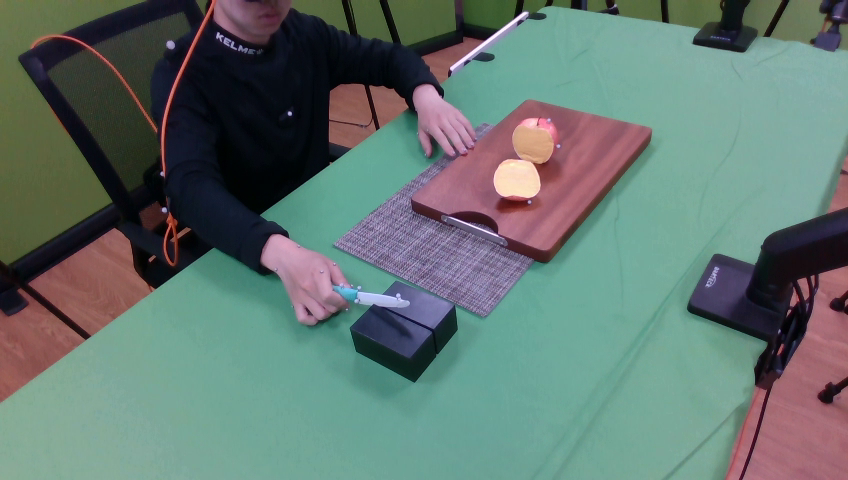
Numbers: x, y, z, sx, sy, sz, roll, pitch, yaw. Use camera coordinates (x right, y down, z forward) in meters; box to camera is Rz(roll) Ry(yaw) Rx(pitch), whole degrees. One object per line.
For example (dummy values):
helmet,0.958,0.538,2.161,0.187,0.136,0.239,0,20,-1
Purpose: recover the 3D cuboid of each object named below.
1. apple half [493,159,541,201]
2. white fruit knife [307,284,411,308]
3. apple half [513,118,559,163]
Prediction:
apple half,0.153,-0.095,0.999,0.081,0.033,0.081,-1,64,2
white fruit knife,-0.094,0.078,0.833,0.206,0.027,0.016,2,36,40
apple half,0.202,-0.179,1.066,0.080,0.075,0.053,14,41,28
